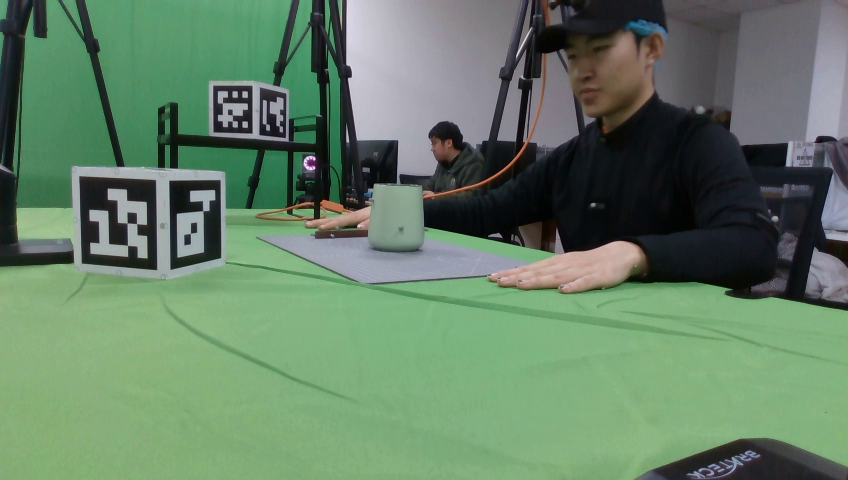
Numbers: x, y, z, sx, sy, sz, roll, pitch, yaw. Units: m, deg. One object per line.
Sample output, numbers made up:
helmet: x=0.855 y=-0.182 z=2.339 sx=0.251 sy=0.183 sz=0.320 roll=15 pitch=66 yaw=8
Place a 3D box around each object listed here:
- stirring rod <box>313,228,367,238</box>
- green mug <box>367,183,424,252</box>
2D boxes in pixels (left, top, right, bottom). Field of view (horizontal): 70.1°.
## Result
stirring rod: x=-0.123 y=-0.014 z=1.115 sx=0.177 sy=0.014 sz=0.006 roll=-3 pitch=3 yaw=-35
green mug: x=-0.053 y=-0.039 z=0.989 sx=0.093 sy=0.105 sz=0.124 roll=-1 pitch=8 yaw=-29
